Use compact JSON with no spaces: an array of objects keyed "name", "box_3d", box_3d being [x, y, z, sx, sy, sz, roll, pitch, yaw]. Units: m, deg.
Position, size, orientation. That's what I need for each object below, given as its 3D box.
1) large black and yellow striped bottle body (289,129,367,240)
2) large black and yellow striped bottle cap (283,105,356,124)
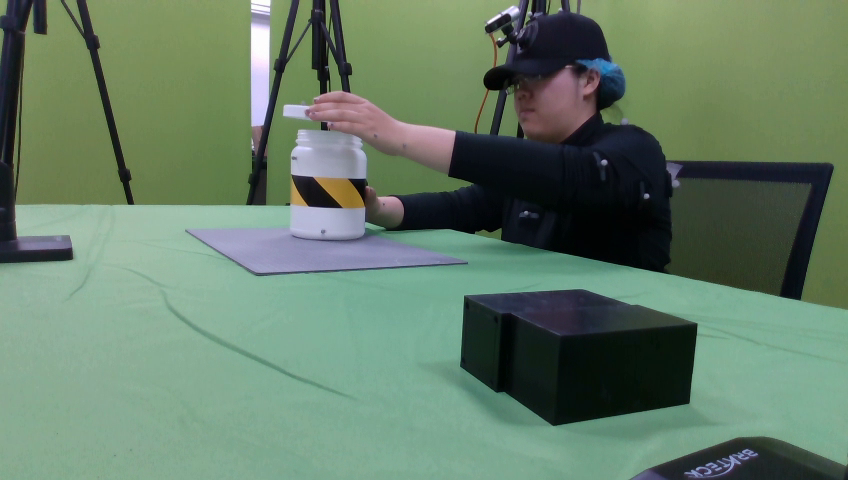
[{"name":"large black and yellow striped bottle body","box_3d":[-0.166,-0.097,1.053,0.131,0.184,0.130,3,8,0]},{"name":"large black and yellow striped bottle cap","box_3d":[-0.166,-0.200,0.965,0.115,0.019,0.115,5,7,0]}]
